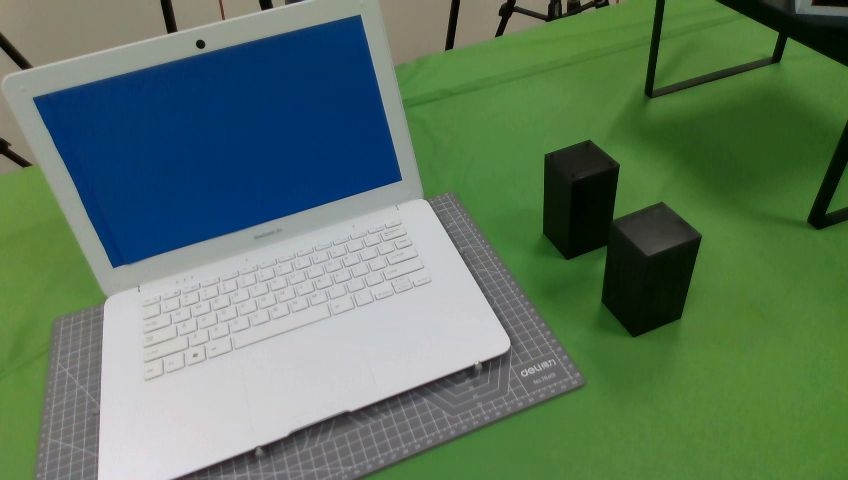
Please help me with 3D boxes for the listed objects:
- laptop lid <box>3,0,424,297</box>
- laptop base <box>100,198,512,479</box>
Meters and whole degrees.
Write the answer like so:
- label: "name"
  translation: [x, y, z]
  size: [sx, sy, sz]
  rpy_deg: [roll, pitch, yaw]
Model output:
- label: "laptop lid"
  translation: [-0.188, -0.094, 0.615]
  size: [0.357, 0.243, 0.013]
  rpy_deg: [-20, 24, -10]
- label: "laptop base"
  translation: [-0.122, 0.081, 0.580]
  size: [0.355, 0.023, 0.232]
  rpy_deg: [-18, 46, -11]
